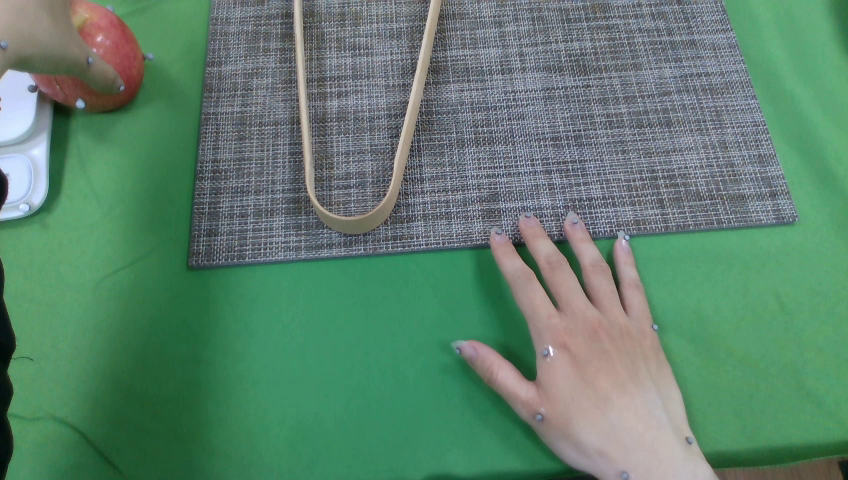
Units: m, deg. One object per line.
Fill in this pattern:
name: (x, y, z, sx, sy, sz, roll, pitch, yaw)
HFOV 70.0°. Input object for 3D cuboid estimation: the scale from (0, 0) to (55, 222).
scale: (-0.371, -0.101, 0.481, 0.149, 0.032, 0.199, -9, 67, -3)

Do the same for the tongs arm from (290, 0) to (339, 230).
tongs arm: (-0.099, -0.185, 0.512, 0.028, 0.028, 0.384, -5, 67, -6)

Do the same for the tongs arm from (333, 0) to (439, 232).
tongs arm: (-0.014, -0.183, 0.509, 0.051, 0.027, 0.382, 7, 67, 2)

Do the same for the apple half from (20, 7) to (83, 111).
apple half: (-0.288, -0.134, 0.470, 0.033, 0.082, 0.080, -11, 66, -6)

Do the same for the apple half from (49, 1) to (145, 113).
apple half: (-0.250, -0.142, 0.475, 0.053, 0.075, 0.080, -10, 63, -7)
